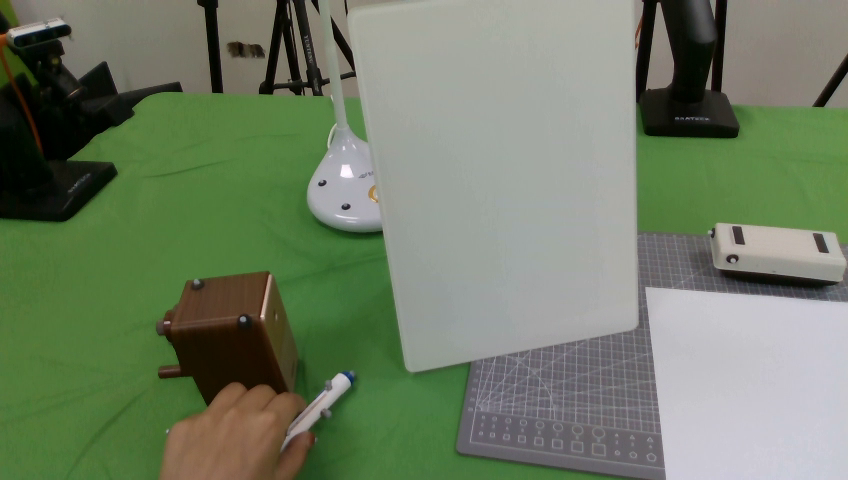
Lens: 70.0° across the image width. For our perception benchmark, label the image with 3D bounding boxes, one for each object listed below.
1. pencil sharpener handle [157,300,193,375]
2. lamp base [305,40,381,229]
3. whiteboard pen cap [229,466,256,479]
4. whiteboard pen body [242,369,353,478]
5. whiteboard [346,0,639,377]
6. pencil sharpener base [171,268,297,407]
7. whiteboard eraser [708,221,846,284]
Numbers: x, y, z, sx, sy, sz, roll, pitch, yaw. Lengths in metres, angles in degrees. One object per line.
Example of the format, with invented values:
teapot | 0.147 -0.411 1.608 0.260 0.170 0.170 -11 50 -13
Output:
pencil sharpener handle | -0.208 0.082 0.494 0.030 0.068 0.035 -6 26 -1
lamp base | -0.079 -0.131 0.706 0.161 0.182 0.177 -28 42 -26
whiteboard pen cap | -0.140 0.183 0.447 0.018 0.018 0.033 21 41 29
whiteboard pen body | -0.107 0.153 0.486 0.017 0.017 0.140 21 44 29
whiteboard | 0.062 -0.062 0.553 0.217 0.307 0.143 -10 20 -5
pencil sharpener base | -0.156 0.084 0.506 0.077 0.108 0.060 -6 39 -1
whiteboard eraser | 0.340 0.012 0.591 0.112 0.042 0.055 6 41 14
